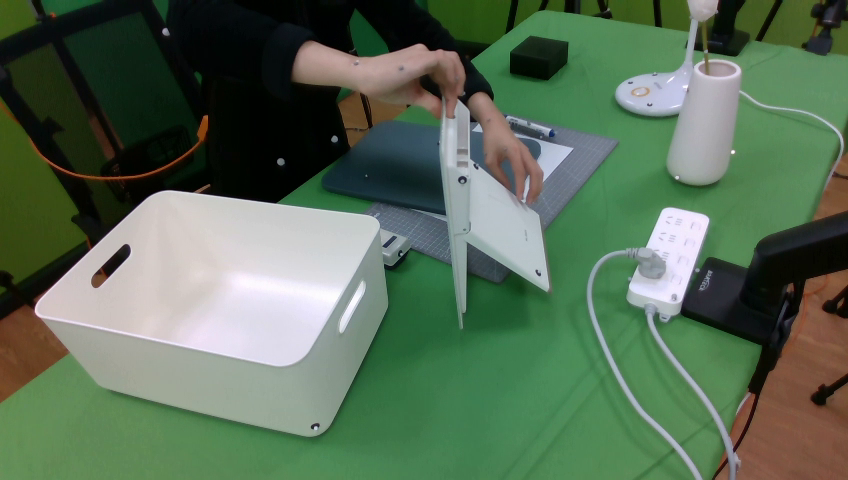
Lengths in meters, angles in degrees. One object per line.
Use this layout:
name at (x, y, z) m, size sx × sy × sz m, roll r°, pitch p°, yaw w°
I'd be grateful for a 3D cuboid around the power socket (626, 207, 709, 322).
power socket at (0.360, 0.026, 0.886) m, size 0.072 × 0.033 × 0.227 m, roll 17°, pitch 46°, yaw 27°

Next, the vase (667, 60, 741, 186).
vase at (0.463, -0.189, 0.994) m, size 0.098 × 0.201 × 0.097 m, roll -4°, pitch 40°, yaw 4°

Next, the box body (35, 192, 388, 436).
box body at (-0.251, 0.087, 0.800) m, size 0.362 × 0.161 × 0.254 m, roll 7°, pitch 42°, yaw 16°

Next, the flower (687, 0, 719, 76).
flower at (0.436, -0.242, 0.934) m, size 0.038 × 0.364 × 0.043 m, roll -24°, pitch 49°, yaw 8°

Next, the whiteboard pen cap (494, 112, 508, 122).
whiteboard pen cap at (0.161, -0.253, 1.248) m, size 0.033 × 0.018 × 0.018 m, roll 29°, pitch 52°, yaw 36°

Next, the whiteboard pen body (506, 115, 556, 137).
whiteboard pen body at (0.203, -0.232, 1.213) m, size 0.139 × 0.017 × 0.017 m, roll 27°, pitch 51°, yaw 36°

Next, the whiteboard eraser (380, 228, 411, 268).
whiteboard eraser at (-0.081, 0.008, 0.964) m, size 0.112 × 0.042 × 0.056 m, roll 19°, pitch 49°, yaw 27°

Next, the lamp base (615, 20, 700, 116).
lamp base at (0.484, -0.364, 1.211) m, size 0.180 × 0.181 × 0.159 m, roll -15°, pitch 41°, yaw -14°

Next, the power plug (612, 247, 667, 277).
power plug at (0.306, 0.031, 0.852) m, size 0.072 × 0.053 × 0.035 m, roll 21°, pitch 48°, yaw 37°

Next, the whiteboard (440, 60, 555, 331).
whiteboard at (0.102, -0.056, 0.809) m, size 0.144 × 0.307 × 0.216 m, roll -1°, pitch 42°, yaw 6°

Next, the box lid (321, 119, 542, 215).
box lid at (0.017, -0.141, 1.145) m, size 0.369 × 0.015 × 0.263 m, roll 12°, pitch 44°, yaw 22°
